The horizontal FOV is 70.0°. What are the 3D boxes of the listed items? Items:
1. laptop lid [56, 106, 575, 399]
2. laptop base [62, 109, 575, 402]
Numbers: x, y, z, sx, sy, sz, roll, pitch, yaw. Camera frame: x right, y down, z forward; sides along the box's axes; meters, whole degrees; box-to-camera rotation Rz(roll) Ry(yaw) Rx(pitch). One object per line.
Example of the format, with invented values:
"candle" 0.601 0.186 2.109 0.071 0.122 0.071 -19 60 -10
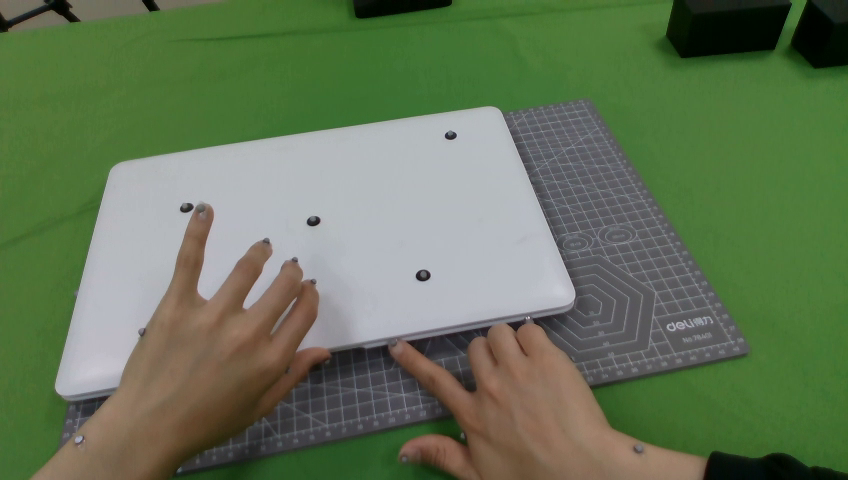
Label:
"laptop lid" -0.085 -0.011 0.474 0.357 0.013 0.239 -8 49 -3
"laptop base" -0.084 -0.004 0.485 0.355 0.023 0.233 -10 51 -4
